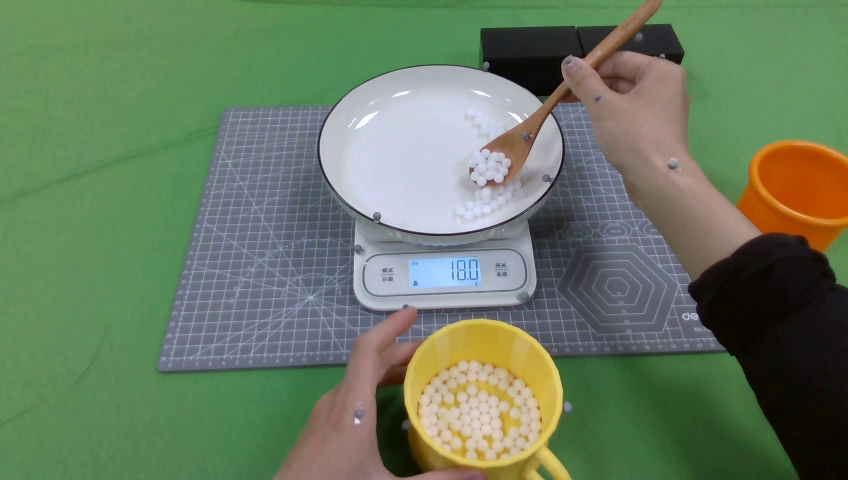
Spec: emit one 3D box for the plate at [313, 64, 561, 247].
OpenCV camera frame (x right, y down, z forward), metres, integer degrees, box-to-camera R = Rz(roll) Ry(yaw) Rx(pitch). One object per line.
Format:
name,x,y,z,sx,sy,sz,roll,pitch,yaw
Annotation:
plate,0.011,-0.074,0.521,0.209,0.038,0.207,1,53,0

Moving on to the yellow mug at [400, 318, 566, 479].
yellow mug,0.046,0.120,0.398,0.100,0.064,0.129,-36,62,-22

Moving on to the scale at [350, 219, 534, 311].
scale,0.012,-0.031,0.530,0.149,0.032,0.199,-2,53,-1

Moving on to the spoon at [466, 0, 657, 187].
spoon,0.105,-0.113,0.475,0.194,0.022,0.041,-46,57,22
